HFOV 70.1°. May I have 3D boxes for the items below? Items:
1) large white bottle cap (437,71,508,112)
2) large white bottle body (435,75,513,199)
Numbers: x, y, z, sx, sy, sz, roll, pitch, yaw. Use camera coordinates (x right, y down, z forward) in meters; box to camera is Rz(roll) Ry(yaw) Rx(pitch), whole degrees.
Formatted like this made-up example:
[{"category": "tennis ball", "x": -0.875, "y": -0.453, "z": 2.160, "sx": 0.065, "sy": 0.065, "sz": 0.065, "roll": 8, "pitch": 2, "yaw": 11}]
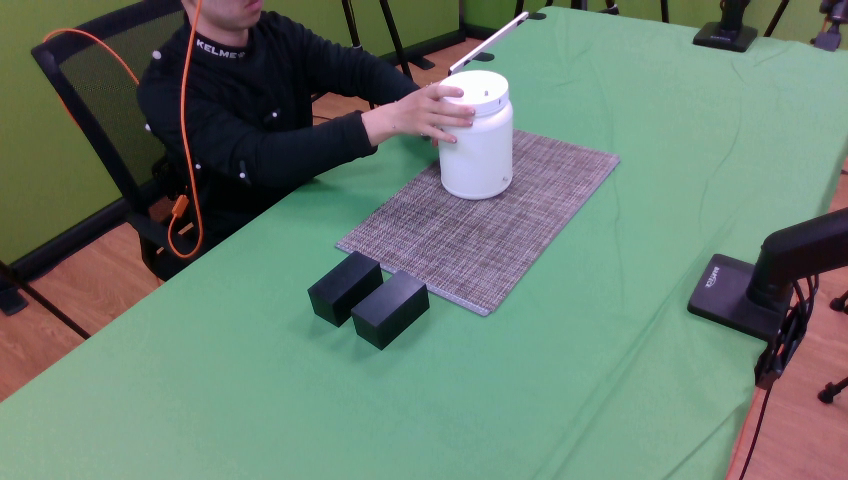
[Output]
[{"category": "large white bottle cap", "x": 0.078, "y": -0.241, "z": 0.976, "sx": 0.115, "sy": 0.018, "sz": 0.114, "roll": -4, "pitch": 41, "yaw": 4}, {"category": "large white bottle body", "x": 0.087, "y": -0.177, "z": 1.030, "sx": 0.130, "sy": 0.185, "sz": 0.130, "roll": -3, "pitch": 40, "yaw": 3}]
